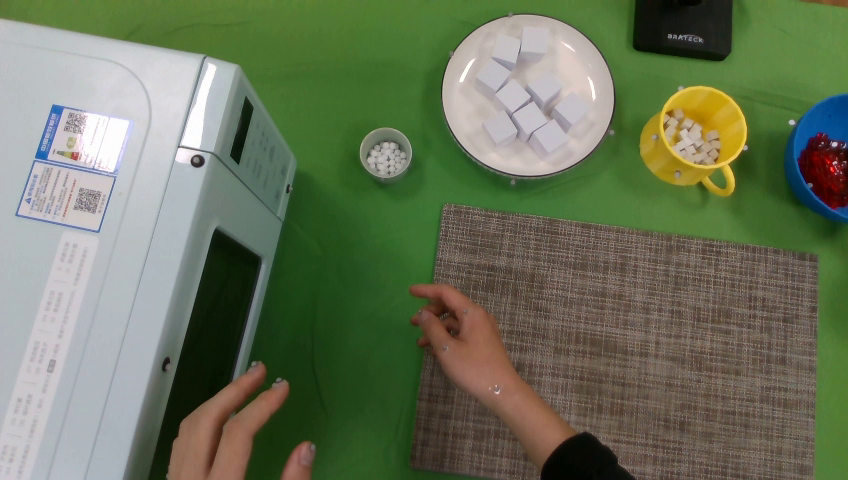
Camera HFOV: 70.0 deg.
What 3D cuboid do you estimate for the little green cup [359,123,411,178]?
[{"bbox_3d":[-0.045,-0.103,0.716,0.061,0.039,0.061,0,81,-1],"label":"little green cup"}]

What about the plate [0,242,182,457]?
[{"bbox_3d":[-0.346,0.108,0.612,0.209,0.038,0.208,0,81,-1],"label":"plate"}]

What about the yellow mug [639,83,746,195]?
[{"bbox_3d":[0.321,-0.111,0.710,0.100,0.064,0.130,-29,82,-5],"label":"yellow mug"}]

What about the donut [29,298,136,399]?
[{"bbox_3d":[-0.335,0.106,0.598,0.099,0.048,0.098,1,83,-4],"label":"donut"}]

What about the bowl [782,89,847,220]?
[{"bbox_3d":[0.479,-0.089,0.703,0.151,0.077,0.151,0,80,0],"label":"bowl"}]

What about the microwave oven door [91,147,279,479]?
[{"bbox_3d":[-0.214,0.118,0.553,0.039,0.244,0.354,11,80,1],"label":"microwave oven door"}]

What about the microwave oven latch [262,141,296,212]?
[{"bbox_3d":[-0.169,-0.075,0.691,0.030,0.029,0.079,15,81,1],"label":"microwave oven latch"}]

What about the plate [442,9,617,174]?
[{"bbox_3d":[0.125,-0.176,0.733,0.208,0.039,0.207,0,80,-1],"label":"plate"}]

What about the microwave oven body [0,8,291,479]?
[{"bbox_3d":[-0.348,0.050,0.569,0.326,0.261,0.440,11,81,1],"label":"microwave oven body"}]
